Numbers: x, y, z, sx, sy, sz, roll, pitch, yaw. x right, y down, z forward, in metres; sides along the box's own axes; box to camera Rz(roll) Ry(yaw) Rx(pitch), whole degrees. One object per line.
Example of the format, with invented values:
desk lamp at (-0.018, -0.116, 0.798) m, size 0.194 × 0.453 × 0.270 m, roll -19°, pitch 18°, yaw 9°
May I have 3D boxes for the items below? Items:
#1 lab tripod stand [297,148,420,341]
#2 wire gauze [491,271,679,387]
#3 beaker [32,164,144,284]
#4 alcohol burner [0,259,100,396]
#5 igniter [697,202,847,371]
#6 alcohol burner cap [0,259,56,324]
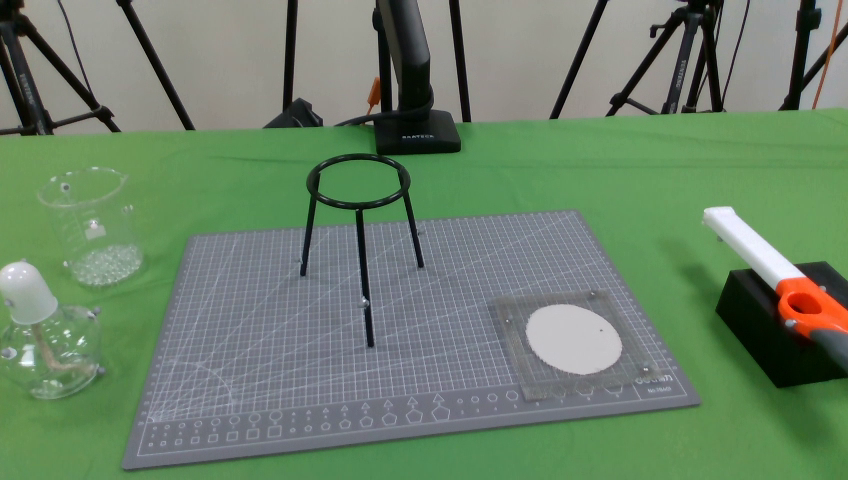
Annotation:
lab tripod stand at (-0.058, -0.004, 0.556) m, size 0.148 × 0.132 × 0.147 m, roll 3°, pitch 37°, yaw -2°
wire gauze at (0.141, 0.075, 0.536) m, size 0.125 × 0.011 × 0.120 m, roll -12°, pitch 35°, yaw -28°
beaker at (-0.321, -0.015, 0.596) m, size 0.073 × 0.101 × 0.084 m, roll 28°, pitch 43°, yaw 31°
alcohol burner at (-0.301, 0.065, 0.475) m, size 0.078 × 0.120 × 0.077 m, roll 2°, pitch 34°, yaw -1°
igniter at (0.319, 0.042, 0.522) m, size 0.057 × 0.025 × 0.273 m, roll -5°, pitch 34°, yaw -6°
alcohol burner cap at (-0.302, 0.036, 0.453) m, size 0.034 × 0.048 × 0.033 m, roll 2°, pitch 40°, yaw -1°
